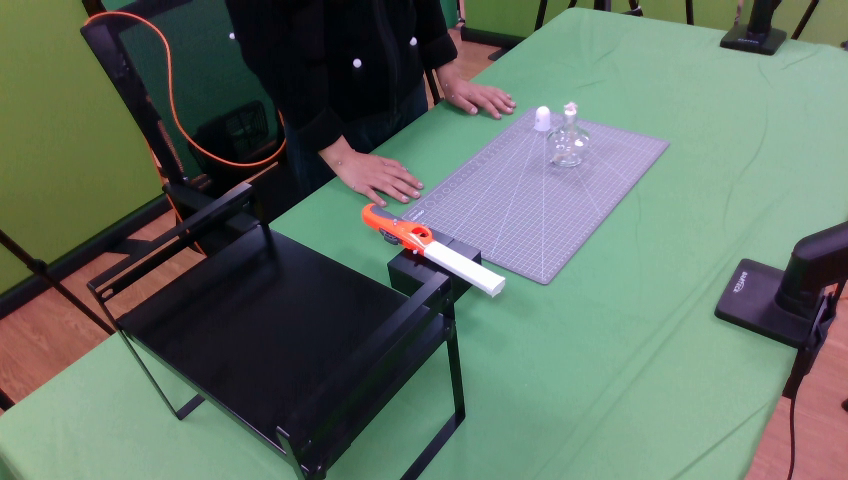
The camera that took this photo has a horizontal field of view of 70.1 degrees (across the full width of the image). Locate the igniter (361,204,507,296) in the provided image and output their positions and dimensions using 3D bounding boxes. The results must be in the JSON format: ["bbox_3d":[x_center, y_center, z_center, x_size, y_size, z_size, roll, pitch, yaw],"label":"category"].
[{"bbox_3d":[0.003,0.008,0.889,0.274,0.025,0.057,29,49,33],"label":"igniter"}]

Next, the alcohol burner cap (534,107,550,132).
[{"bbox_3d":[0.236,-0.243,1.206,0.034,0.048,0.033,-4,39,3],"label":"alcohol burner cap"}]

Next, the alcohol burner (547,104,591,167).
[{"bbox_3d":[0.261,-0.192,1.087,0.078,0.119,0.077,-5,42,5],"label":"alcohol burner"}]
